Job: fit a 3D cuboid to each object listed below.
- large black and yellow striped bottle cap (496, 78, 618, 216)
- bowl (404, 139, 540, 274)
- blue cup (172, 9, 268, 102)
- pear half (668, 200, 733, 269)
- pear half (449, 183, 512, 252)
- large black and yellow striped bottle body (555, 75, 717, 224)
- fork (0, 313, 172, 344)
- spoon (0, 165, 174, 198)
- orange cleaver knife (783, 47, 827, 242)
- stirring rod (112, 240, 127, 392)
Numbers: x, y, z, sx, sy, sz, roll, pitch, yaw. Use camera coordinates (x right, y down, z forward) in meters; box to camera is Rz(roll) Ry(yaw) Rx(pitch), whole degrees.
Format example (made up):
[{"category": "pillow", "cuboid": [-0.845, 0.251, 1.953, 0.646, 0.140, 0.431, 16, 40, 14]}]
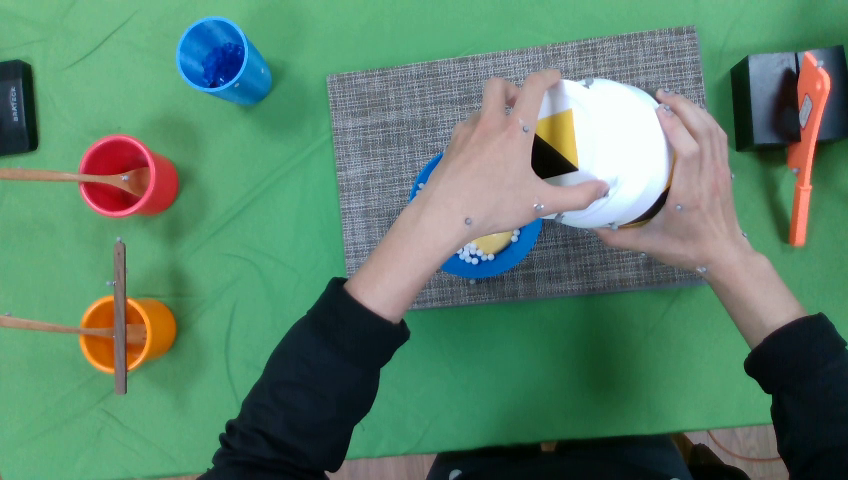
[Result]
[{"category": "large black and yellow striped bottle cap", "cuboid": [0.107, -0.077, 0.509, 0.114, 0.019, 0.115, 4, 95, 49]}, {"category": "bowl", "cuboid": [0.056, -0.035, 0.700, 0.151, 0.077, 0.151, 0, 89, 6]}, {"category": "blue cup", "cuboid": [-0.233, -0.207, 0.723, 0.092, 0.100, 0.092, 0, 89, 7]}, {"category": "pear half", "cuboid": [0.302, -0.003, 0.662, 0.056, 0.110, 0.076, -26, 82, 5]}, {"category": "pear half", "cuboid": [0.061, -0.030, 0.694, 0.070, 0.031, 0.087, -33, 82, 2]}, {"category": "large black and yellow striped bottle body", "cuboid": [0.175, -0.081, 0.566, 0.130, 0.185, 0.131, 5, 97, 48]}, {"category": "fork", "cuboid": [-0.404, 0.101, 0.707, 0.209, 0.018, 0.028, 14, 99, -38]}, {"category": "spoon", "cuboid": [-0.400, -0.075, 0.715, 0.195, 0.021, 0.041, 1, 90, -38]}, {"category": "orange cleaver knife", "cuboid": [0.414, -0.102, 0.671, 0.012, 0.076, 0.213, -4, 117, 11]}, {"category": "stirring rod", "cuboid": [-0.353, 0.088, 0.701, 0.014, 0.006, 0.176, -1, 89, 3]}]
